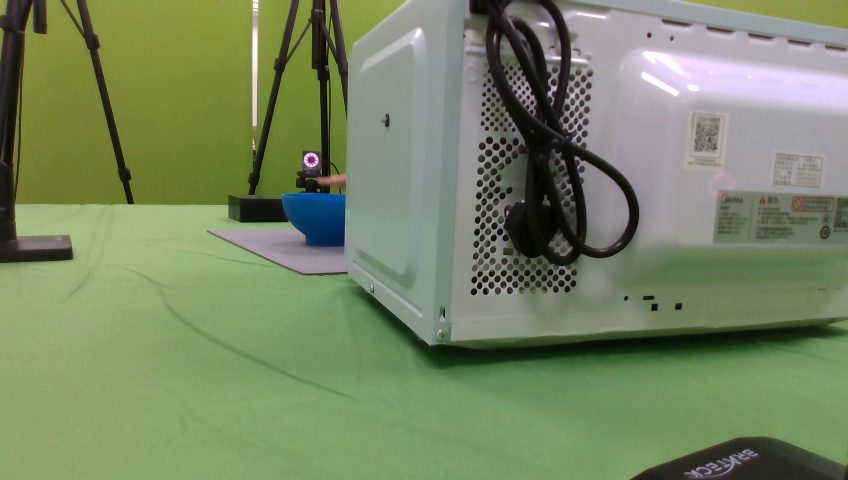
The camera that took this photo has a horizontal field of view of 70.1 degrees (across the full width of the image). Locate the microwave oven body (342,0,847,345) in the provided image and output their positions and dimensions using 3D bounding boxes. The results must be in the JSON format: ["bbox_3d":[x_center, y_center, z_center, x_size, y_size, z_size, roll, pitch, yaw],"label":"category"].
[{"bbox_3d":[0.169,-0.060,0.573,0.444,0.260,0.324,1,7,-20],"label":"microwave oven body"}]

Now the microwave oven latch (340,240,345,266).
[{"bbox_3d":[-0.052,0.016,0.662,0.079,0.029,0.030,1,7,-19],"label":"microwave oven latch"}]

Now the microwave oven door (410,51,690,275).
[{"bbox_3d":[0.161,-0.084,0.723,0.357,0.243,0.039,0,8,-20],"label":"microwave oven door"}]

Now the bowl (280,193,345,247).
[{"bbox_3d":[-0.153,-0.032,0.970,0.151,0.077,0.151,3,7,0],"label":"bowl"}]
